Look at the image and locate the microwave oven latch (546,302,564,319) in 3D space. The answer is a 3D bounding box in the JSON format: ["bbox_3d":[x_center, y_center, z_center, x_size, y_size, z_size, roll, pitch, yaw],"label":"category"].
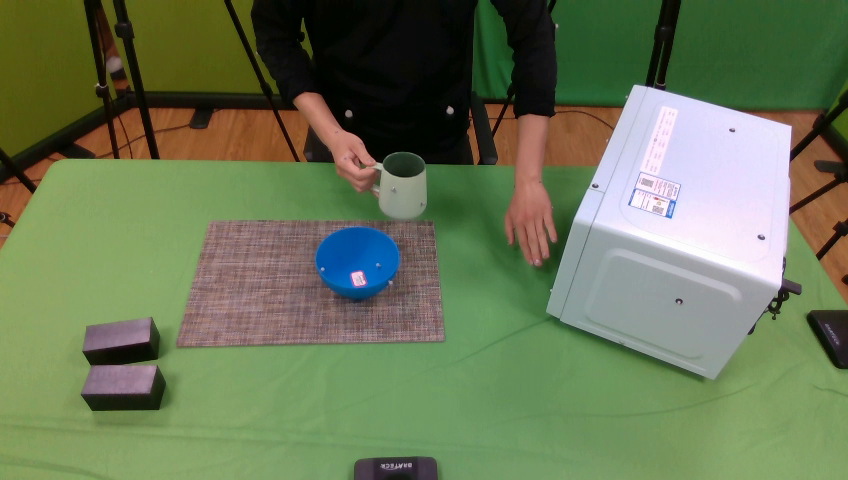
[{"bbox_3d":[0.242,0.102,1.081,0.030,0.029,0.079,22,48,17],"label":"microwave oven latch"}]

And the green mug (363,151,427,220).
[{"bbox_3d":[-0.055,-0.103,1.122,0.125,0.105,0.092,16,46,12],"label":"green mug"}]

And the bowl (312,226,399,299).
[{"bbox_3d":[-0.120,0.054,1.091,0.151,0.077,0.150,2,46,-2],"label":"bowl"}]

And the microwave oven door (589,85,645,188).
[{"bbox_3d":[0.342,-0.107,1.149,0.039,0.245,0.354,20,48,15],"label":"microwave oven door"}]

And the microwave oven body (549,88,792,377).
[{"bbox_3d":[0.456,-0.028,1.088,0.325,0.261,0.440,20,47,16],"label":"microwave oven body"}]
